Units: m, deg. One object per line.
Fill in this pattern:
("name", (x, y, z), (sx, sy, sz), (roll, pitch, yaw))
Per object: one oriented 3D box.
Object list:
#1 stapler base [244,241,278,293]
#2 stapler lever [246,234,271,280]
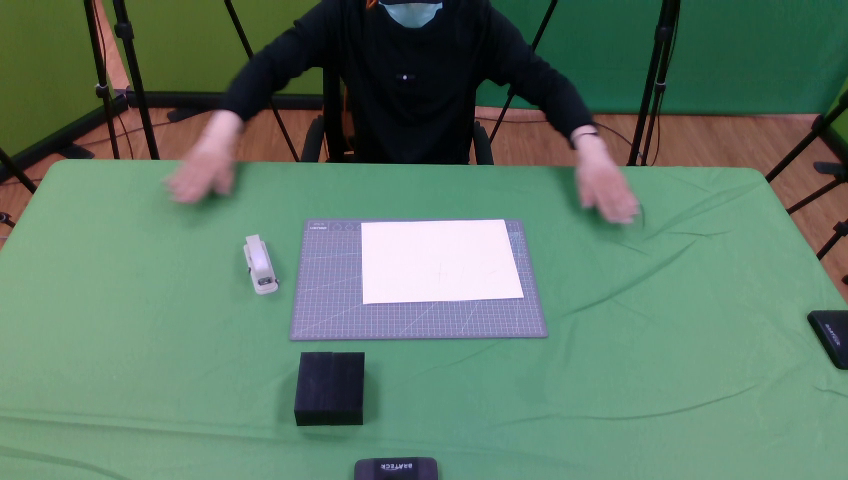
("stapler base", (-0.305, 0.044, 1.130), (0.041, 0.024, 0.129), (-13, 47, -19))
("stapler lever", (-0.305, 0.026, 1.113), (0.027, 0.040, 0.117), (-13, 48, -19))
